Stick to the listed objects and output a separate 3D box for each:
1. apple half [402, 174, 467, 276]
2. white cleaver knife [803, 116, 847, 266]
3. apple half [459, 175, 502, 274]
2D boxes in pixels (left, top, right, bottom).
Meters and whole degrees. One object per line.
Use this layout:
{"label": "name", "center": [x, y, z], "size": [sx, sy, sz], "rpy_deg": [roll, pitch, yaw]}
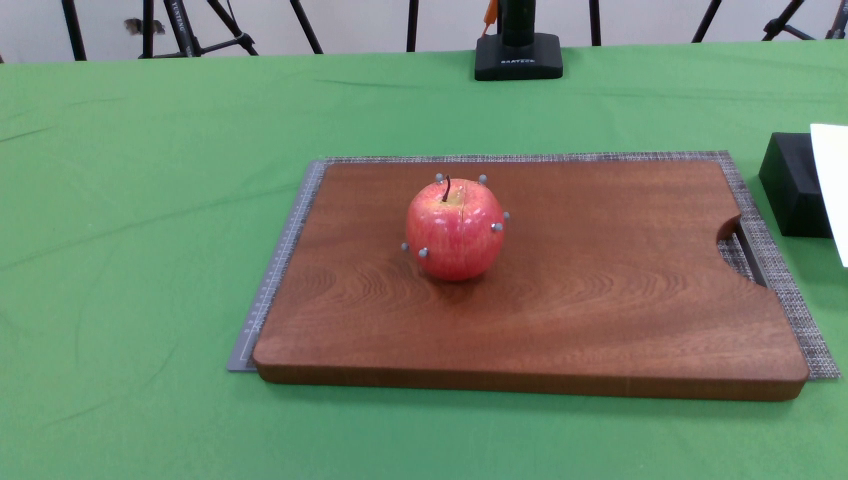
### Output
{"label": "apple half", "center": [0.010, -0.011, 0.499], "size": [0.053, 0.075, 0.080], "rpy_deg": [-2, 44, 10]}
{"label": "white cleaver knife", "center": [0.363, 0.001, 0.490], "size": [0.065, 0.022, 0.284], "rpy_deg": [1, 53, 13]}
{"label": "apple half", "center": [0.048, -0.012, 0.494], "size": [0.033, 0.082, 0.080], "rpy_deg": [-3, 41, 10]}
